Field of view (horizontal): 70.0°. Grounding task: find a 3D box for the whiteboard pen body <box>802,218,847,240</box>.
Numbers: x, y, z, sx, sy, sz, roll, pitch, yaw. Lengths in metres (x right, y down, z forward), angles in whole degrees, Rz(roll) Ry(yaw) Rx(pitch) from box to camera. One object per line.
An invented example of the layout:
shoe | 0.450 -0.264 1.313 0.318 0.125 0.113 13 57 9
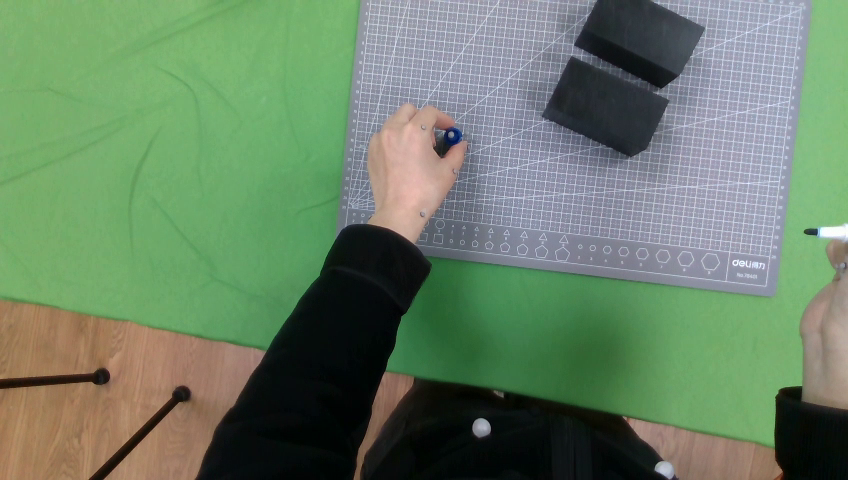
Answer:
whiteboard pen body | 0.314 -0.005 0.375 0.140 0.017 0.017 4 91 19

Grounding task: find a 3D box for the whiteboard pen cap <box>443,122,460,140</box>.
whiteboard pen cap | 0.027 -0.110 0.607 0.018 0.033 0.018 1 103 4
